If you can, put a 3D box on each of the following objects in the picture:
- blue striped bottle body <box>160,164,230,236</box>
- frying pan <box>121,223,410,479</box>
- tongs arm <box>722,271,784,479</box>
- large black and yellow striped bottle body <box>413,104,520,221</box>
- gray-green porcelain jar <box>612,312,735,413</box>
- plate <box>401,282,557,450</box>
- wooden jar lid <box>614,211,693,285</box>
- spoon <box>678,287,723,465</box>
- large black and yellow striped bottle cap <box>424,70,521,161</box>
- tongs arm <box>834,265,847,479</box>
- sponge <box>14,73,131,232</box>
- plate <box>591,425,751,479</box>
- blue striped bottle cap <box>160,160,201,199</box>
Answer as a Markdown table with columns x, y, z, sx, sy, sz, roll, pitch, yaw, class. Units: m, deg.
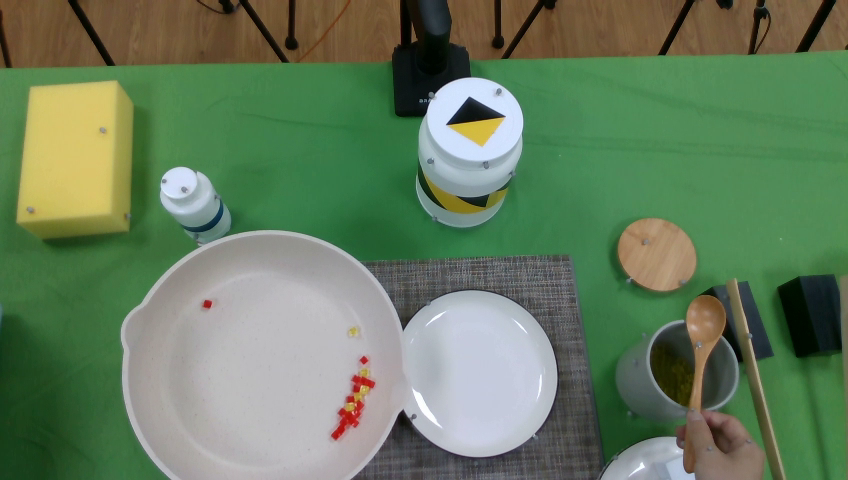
| x | y | z | sx | sy | sz | roll | pitch | yaw | class |
| --- | --- | --- | --- | --- | --- | --- | --- | --- | --- |
| -0.296 | -0.055 | 0.780 | 0.063 | 0.121 | 0.062 | 1 | 69 | -2 | blue striped bottle body |
| -0.184 | 0.219 | 0.619 | 0.308 | 0.103 | 0.484 | 19 | 60 | -15 | frying pan |
| 0.430 | 0.224 | 0.736 | 0.051 | 0.026 | 0.383 | -7 | 81 | -8 | tongs arm |
| 0.053 | -0.117 | 0.790 | 0.131 | 0.185 | 0.130 | 1 | 69 | -3 | large black and yellow striped bottle body |
| 0.294 | 0.153 | 0.736 | 0.106 | 0.127 | 0.105 | 1 | 70 | -2 | gray-green porcelain jar |
| 0.061 | 0.156 | 0.765 | 0.209 | 0.038 | 0.207 | 1 | 70 | -2 | plate |
| 0.318 | 0.012 | 0.846 | 0.108 | 0.021 | 0.107 | 1 | 71 | -2 | wooden jar lid |
| 0.294 | 0.145 | 0.661 | 0.041 | 0.022 | 0.193 | 8 | 69 | 25 | spoon |
| 0.058 | -0.147 | 0.712 | 0.115 | 0.019 | 0.114 | 1 | 71 | -3 | large black and yellow striped bottle cap |
| 0.514 | 0.221 | 0.743 | 0.028 | 0.028 | 0.386 | 8 | 80 | -8 | tongs arm |
| -0.473 | -0.120 | 0.825 | 0.118 | 0.061 | 0.205 | -7 | 71 | -6 | sponge |
| 0.294 | 0.328 | 0.720 | 0.208 | 0.039 | 0.206 | 1 | 70 | -2 | plate |
| -0.295 | -0.074 | 0.733 | 0.044 | 0.021 | 0.044 | 1 | 71 | -3 | blue striped bottle cap |
